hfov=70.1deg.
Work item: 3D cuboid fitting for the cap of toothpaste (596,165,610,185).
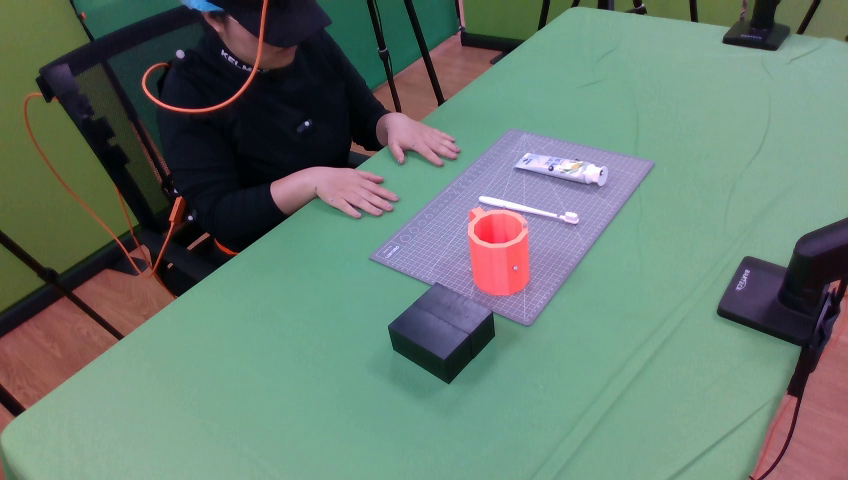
[{"bbox_3d":[0.307,-0.113,1.041,0.011,0.037,0.037,20,48,39],"label":"cap of toothpaste"}]

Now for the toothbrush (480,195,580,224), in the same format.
[{"bbox_3d":[0.175,-0.054,1.016,0.180,0.017,0.014,15,59,29],"label":"toothbrush"}]

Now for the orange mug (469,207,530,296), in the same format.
[{"bbox_3d":[0.104,0.008,0.894,0.084,0.101,0.125,-22,46,-14],"label":"orange mug"}]

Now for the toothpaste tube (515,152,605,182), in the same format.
[{"bbox_3d":[0.248,-0.133,1.087,0.164,0.034,0.055,18,42,34],"label":"toothpaste tube"}]
